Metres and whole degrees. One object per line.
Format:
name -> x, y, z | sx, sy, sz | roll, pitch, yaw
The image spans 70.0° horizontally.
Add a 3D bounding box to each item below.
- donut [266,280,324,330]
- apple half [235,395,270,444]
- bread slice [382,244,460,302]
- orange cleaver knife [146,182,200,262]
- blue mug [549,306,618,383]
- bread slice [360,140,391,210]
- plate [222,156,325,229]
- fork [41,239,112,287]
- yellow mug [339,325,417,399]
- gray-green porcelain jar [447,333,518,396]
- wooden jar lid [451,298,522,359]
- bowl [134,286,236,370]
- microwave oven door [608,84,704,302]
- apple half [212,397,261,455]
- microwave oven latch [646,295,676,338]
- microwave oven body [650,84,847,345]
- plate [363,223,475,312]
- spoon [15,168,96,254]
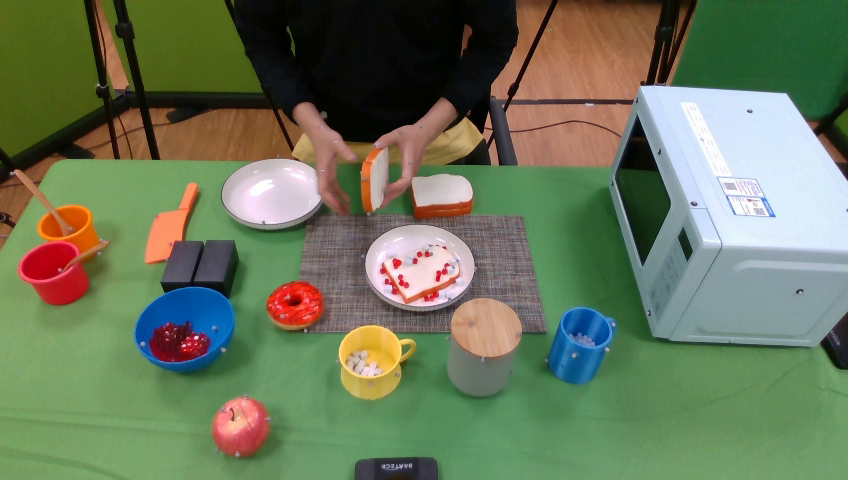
donut -> -0.223, 0.112, 1.051 | 0.099, 0.048, 0.098 | 2, 46, -2
apple half -> -0.245, 0.260, 0.893 | 0.033, 0.082, 0.081 | -29, 55, -22
bread slice -> 0.000, 0.053, 1.128 | 0.132, 0.019, 0.104 | -20, 52, -22
orange cleaver knife -> -0.494, -0.039, 1.198 | 0.077, 0.012, 0.210 | -3, 48, 1
blue mug -> 0.269, 0.167, 0.997 | 0.116, 0.106, 0.082 | -19, 50, -21
bread slice -> -0.085, -0.113, 1.078 | 0.018, 0.107, 0.134 | 4, 22, 12
plate -> -0.308, -0.095, 1.251 | 0.209, 0.038, 0.208 | 2, 47, -2
fork -> -0.591, 0.040, 1.028 | 0.207, 0.019, 0.028 | -27, 36, 29
yellow mug -> -0.072, 0.191, 0.978 | 0.131, 0.064, 0.099 | -17, 49, -20
gray-green porcelain jar -> 0.091, 0.178, 0.960 | 0.106, 0.127, 0.105 | 2, 47, -2
wooden jar lid -> 0.093, 0.135, 0.914 | 0.108, 0.021, 0.107 | 2, 48, -3
bowl -> -0.377, 0.156, 0.981 | 0.151, 0.077, 0.150 | 2, 46, -2
microwave oven door -> 0.424, -0.096, 1.138 | 0.039, 0.245, 0.353 | 2, 47, -1
apple half -> -0.276, 0.276, 0.877 | 0.053, 0.075, 0.080 | -29, 58, -21
microwave oven latch -> 0.413, 0.133, 1.061 | 0.030, 0.029, 0.078 | 4, 46, 1
microwave oven body -> 0.569, -0.054, 1.116 | 0.326, 0.261, 0.439 | 2, 46, -1
plate -> -0.009, 0.054, 1.126 | 0.208, 0.039, 0.206 | 2, 46, -2
spoon -> -0.675, -0.052, 1.109 | 0.021, 0.194, 0.041 | -14, 24, 52
